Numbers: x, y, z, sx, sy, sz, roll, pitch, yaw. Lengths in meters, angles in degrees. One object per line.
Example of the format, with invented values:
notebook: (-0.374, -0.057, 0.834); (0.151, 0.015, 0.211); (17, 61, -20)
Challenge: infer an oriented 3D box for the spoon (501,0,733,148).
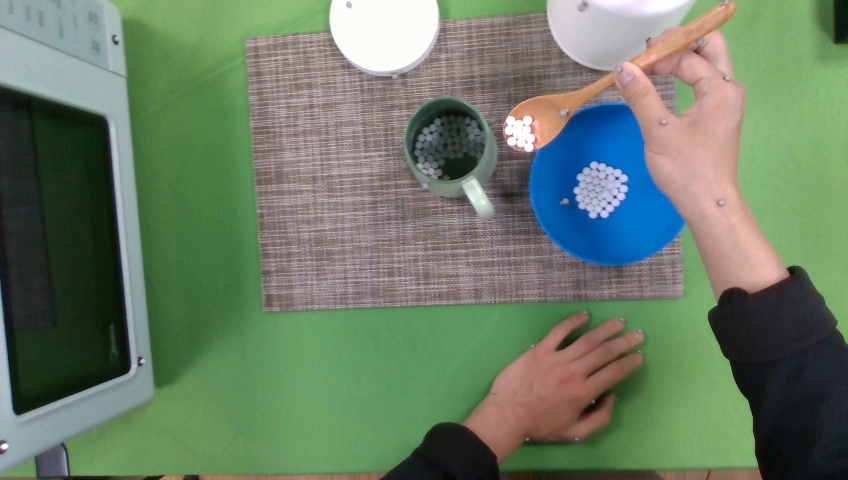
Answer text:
spoon: (0.136, -0.122, 0.458); (0.193, 0.021, 0.042); (-25, 98, 44)

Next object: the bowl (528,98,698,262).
bowl: (0.175, -0.055, 0.592); (0.151, 0.077, 0.151); (0, 92, 6)

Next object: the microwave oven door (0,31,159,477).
microwave oven door: (-0.339, 0.004, 0.553); (0.039, 0.244, 0.355); (-5, 91, 7)

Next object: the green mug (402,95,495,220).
green mug: (0.032, -0.077, 0.593); (0.092, 0.105, 0.125); (-30, 89, 5)

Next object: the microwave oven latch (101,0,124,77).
microwave oven latch: (-0.343, -0.216, 0.647); (0.030, 0.029, 0.079); (-4, 92, 6)

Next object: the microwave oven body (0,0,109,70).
microwave oven body: (-0.487, -0.026, 0.572); (0.326, 0.260, 0.441); (-5, 92, 6)

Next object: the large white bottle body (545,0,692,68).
large white bottle body: (0.178, -0.242, 0.531); (0.130, 0.185, 0.130); (0, 88, 6)

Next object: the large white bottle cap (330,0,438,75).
large white bottle cap: (-0.042, -0.233, 0.639); (0.115, 0.018, 0.115); (0, 91, 6)
